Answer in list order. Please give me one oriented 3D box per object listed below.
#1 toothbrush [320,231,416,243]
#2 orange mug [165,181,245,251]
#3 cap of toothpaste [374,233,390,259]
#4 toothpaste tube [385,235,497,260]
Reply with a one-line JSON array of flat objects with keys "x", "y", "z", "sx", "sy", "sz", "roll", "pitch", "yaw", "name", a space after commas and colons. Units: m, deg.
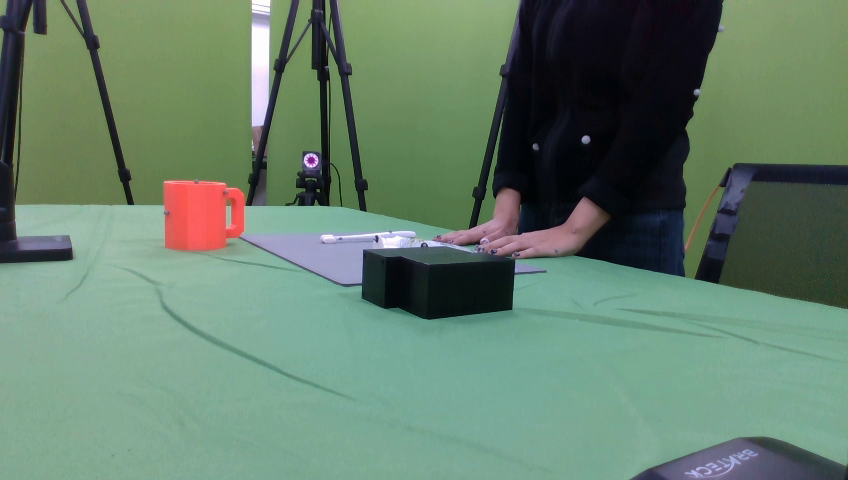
[{"x": -0.089, "y": -0.006, "z": 1.025, "sx": 0.183, "sy": 0.014, "sz": 0.016, "roll": -3, "pitch": 12, "yaw": -34, "name": "toothbrush"}, {"x": -0.326, "y": -0.040, "z": 0.911, "sx": 0.083, "sy": 0.101, "sz": 0.127, "roll": 8, "pitch": 14, "yaw": 37, "name": "orange mug"}, {"x": -0.058, "y": 0.008, "z": 0.825, "sx": 0.011, "sy": 0.037, "sz": 0.037, "roll": -4, "pitch": 9, "yaw": -29, "name": "cap of toothpaste"}, {"x": 0.019, "y": 0.014, "z": 0.852, "sx": 0.166, "sy": 0.034, "sz": 0.055, "roll": 4, "pitch": 13, "yaw": -20, "name": "toothpaste tube"}]
